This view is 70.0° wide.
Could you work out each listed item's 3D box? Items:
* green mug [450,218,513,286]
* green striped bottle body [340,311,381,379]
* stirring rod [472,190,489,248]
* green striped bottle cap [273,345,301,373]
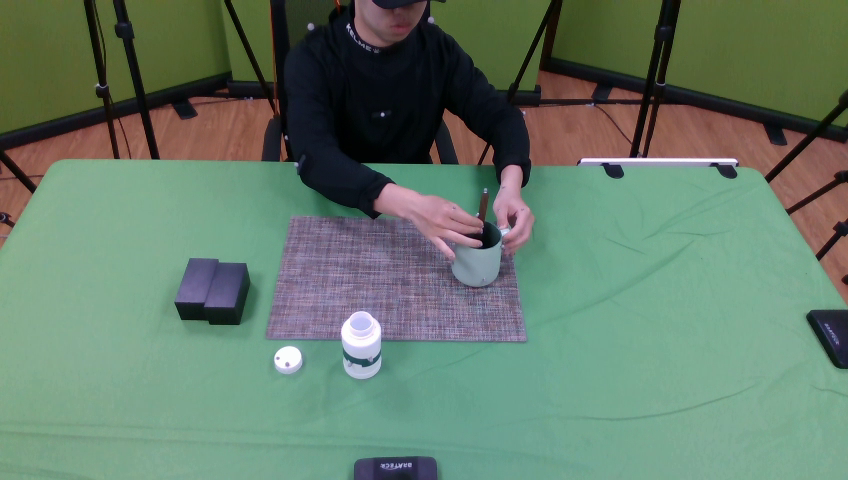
[{"bbox_3d":[0.111,0.018,1.125,0.125,0.105,0.092,-22,52,-23],"label":"green mug"},{"bbox_3d":[-0.101,0.164,0.964,0.063,0.120,0.063,2,46,-2],"label":"green striped bottle body"},{"bbox_3d":[0.099,-0.018,1.099,0.014,0.177,0.006,-5,42,-12],"label":"stirring rod"},{"bbox_3d":[-0.225,0.195,0.997,0.044,0.020,0.044,2,50,-3],"label":"green striped bottle cap"}]
